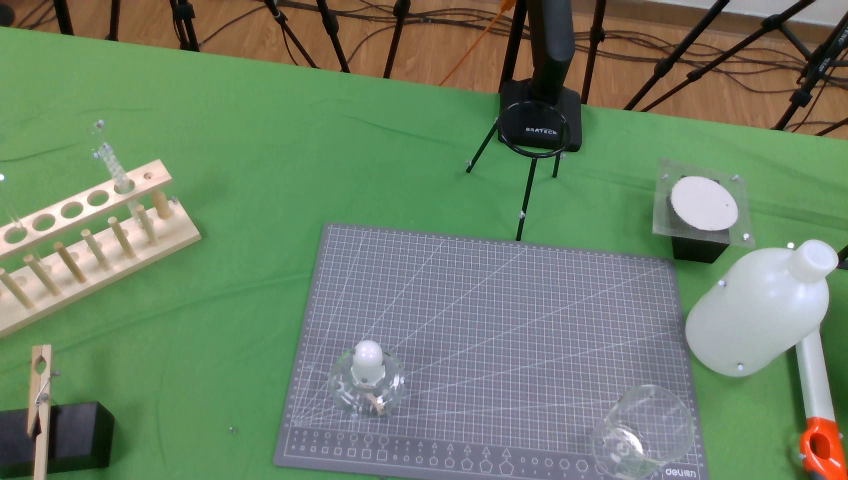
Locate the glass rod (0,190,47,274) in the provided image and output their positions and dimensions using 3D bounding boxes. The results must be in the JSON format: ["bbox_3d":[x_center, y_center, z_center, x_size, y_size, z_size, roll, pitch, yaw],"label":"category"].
[{"bbox_3d":[-0.421,-0.026,0.615,0.008,0.201,0.008,4,48,-5],"label":"glass rod"}]

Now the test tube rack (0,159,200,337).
[{"bbox_3d":[-0.388,0.008,0.675,0.242,0.086,0.066,-30,65,-22],"label":"test tube rack"}]

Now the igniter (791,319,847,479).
[{"bbox_3d":[0.433,0.203,0.665,0.057,0.025,0.274,18,57,-6],"label":"igniter"}]

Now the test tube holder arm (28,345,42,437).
[{"bbox_3d":[-0.368,0.142,0.573,0.010,0.015,0.087,-8,59,-20],"label":"test tube holder arm"}]

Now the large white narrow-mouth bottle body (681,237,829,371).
[{"bbox_3d":[0.359,0.062,0.648,0.102,0.196,0.101,2,57,-3],"label":"large white narrow-mouth bottle body"}]

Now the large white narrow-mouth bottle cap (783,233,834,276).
[{"bbox_3d":[0.365,0.014,0.576,0.038,0.024,0.037,2,57,-3],"label":"large white narrow-mouth bottle cap"}]

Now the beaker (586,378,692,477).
[{"bbox_3d":[0.206,0.191,0.604,0.084,0.101,0.073,3,57,-2],"label":"beaker"}]

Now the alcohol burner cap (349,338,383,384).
[{"bbox_3d":[-0.056,0.113,0.577,0.034,0.048,0.033,2,52,-2],"label":"alcohol burner cap"}]

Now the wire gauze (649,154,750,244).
[{"bbox_3d":[0.349,-0.053,0.772,0.121,0.011,0.124,13,57,3],"label":"wire gauze"}]

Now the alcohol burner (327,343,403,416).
[{"bbox_3d":[-0.058,0.132,0.608,0.078,0.120,0.077,4,56,-5],"label":"alcohol burner"}]

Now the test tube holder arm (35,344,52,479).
[{"bbox_3d":[-0.349,0.178,0.554,0.013,0.015,0.176,-8,59,-20],"label":"test tube holder arm"}]

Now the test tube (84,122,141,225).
[{"bbox_3d":[-0.337,-0.068,0.668,0.017,0.151,0.017,1,51,-1],"label":"test tube"}]

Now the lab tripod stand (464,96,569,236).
[{"bbox_3d":[0.123,-0.100,0.765,0.148,0.132,0.147,3,58,-5],"label":"lab tripod stand"}]
